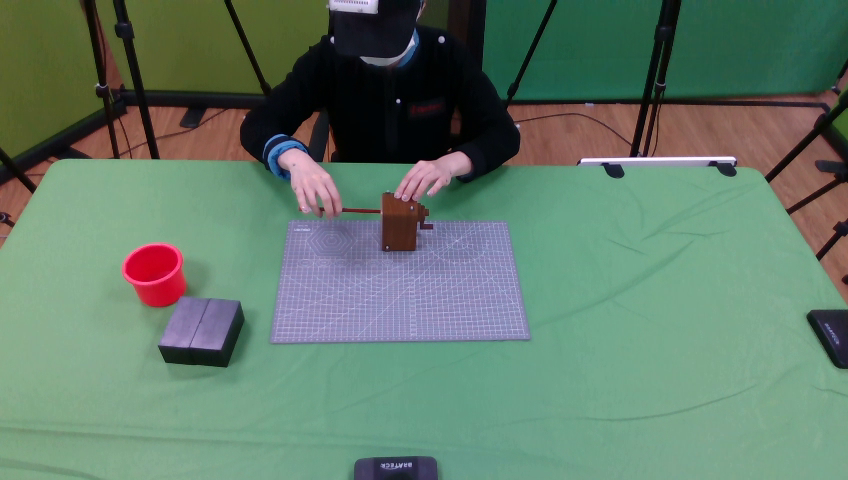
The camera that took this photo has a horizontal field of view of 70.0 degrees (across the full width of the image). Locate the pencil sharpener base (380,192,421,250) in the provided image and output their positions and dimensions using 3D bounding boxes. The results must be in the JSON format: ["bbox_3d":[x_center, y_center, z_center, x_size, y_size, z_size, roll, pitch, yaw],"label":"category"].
[{"bbox_3d":[-0.046,-0.035,1.163,0.077,0.107,0.061,0,46,-4],"label":"pencil sharpener base"}]

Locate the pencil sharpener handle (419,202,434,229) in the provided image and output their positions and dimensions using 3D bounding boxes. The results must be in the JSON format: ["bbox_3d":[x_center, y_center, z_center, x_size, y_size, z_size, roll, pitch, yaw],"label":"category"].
[{"bbox_3d":[0.006,-0.045,1.160,0.031,0.068,0.036,0,53,-4],"label":"pencil sharpener handle"}]

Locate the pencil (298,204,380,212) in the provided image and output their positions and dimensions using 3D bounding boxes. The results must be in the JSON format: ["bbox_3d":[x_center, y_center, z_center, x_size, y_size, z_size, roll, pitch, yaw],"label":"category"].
[{"bbox_3d":[-0.139,-0.058,1.142,0.194,0.012,0.012,2,46,-5],"label":"pencil"}]
